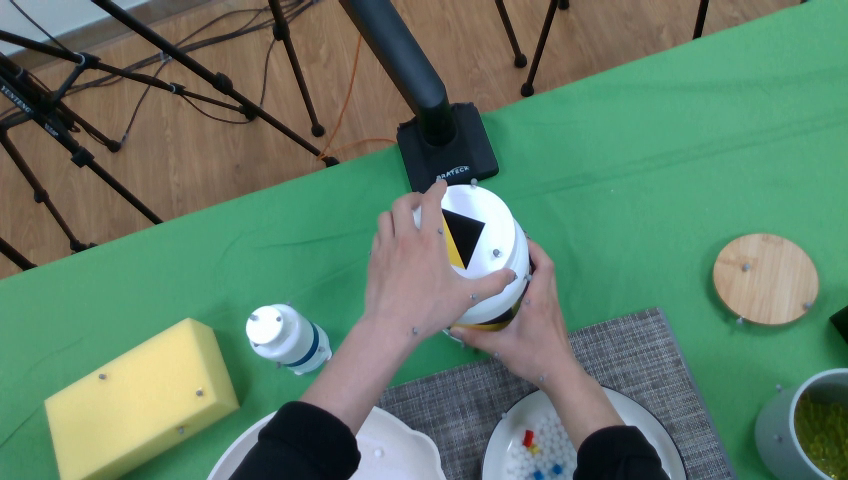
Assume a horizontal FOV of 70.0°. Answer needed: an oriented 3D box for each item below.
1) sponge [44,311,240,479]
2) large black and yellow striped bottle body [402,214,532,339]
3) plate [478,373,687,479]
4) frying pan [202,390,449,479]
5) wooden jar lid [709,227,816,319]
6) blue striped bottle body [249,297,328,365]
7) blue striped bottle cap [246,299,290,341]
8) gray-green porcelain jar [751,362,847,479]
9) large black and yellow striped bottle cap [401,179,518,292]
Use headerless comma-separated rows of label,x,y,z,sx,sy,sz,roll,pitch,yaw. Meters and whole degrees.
sponge,-0.348,0.194,0.751,0.207,0.061,0.117,-30,66,-2
large black and yellow striped bottle body,0.050,0.027,0.667,0.130,0.185,0.130,-4,67,10
plate,0.161,0.246,0.633,0.209,0.038,0.207,-4,69,10
frying pan,-0.043,0.375,0.589,0.307,0.104,0.483,-40,58,-4
wooden jar lid,0.380,0.038,0.685,0.108,0.021,0.107,-4,70,10
blue striped bottle body,-0.162,0.106,0.714,0.063,0.122,0.062,-4,68,10
blue striped bottle cap,-0.172,0.088,0.667,0.044,0.021,0.044,-6,65,13
gray-green porcelain jar,0.378,0.178,0.571,0.105,0.127,0.105,-4,68,10
large black and yellow striped bottle cap,0.033,-0.006,0.587,0.115,0.019,0.114,-7,66,15
